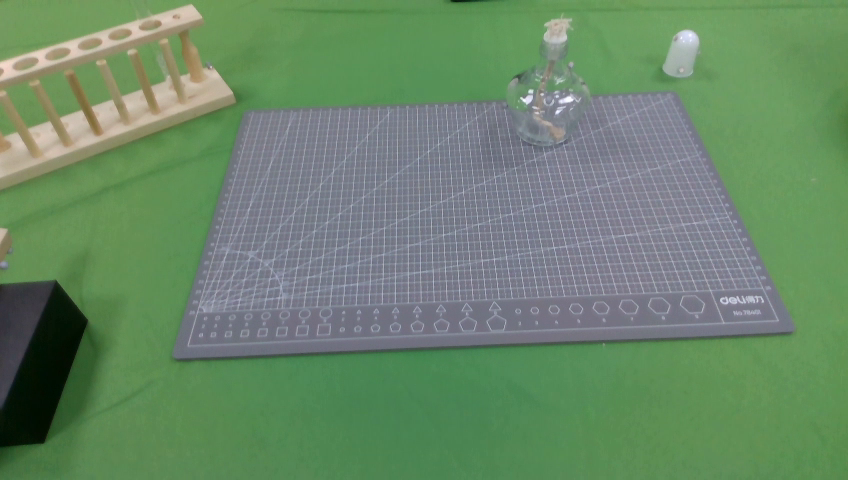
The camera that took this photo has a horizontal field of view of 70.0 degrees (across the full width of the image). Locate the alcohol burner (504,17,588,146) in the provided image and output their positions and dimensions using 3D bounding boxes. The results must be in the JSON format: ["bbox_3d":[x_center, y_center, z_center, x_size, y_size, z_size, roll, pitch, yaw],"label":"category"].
[{"bbox_3d":[0.114,-0.147,0.555,0.078,0.120,0.077,-1,47,1],"label":"alcohol burner"}]

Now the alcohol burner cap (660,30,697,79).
[{"bbox_3d":[0.274,-0.200,0.647,0.034,0.048,0.033,-2,48,3],"label":"alcohol burner cap"}]

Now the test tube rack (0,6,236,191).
[{"bbox_3d":[-0.321,-0.142,0.593,0.242,0.086,0.066,-27,52,-20],"label":"test tube rack"}]

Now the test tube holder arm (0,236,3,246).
[{"bbox_3d":[-0.316,0.029,0.420,0.010,0.015,0.087,1,49,-8],"label":"test tube holder arm"}]

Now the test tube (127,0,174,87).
[{"bbox_3d":[-0.274,-0.217,0.592,0.017,0.152,0.017,-4,46,5],"label":"test tube"}]

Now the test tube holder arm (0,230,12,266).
[{"bbox_3d":[-0.308,0.063,0.392,0.013,0.015,0.176,1,49,-8],"label":"test tube holder arm"}]
